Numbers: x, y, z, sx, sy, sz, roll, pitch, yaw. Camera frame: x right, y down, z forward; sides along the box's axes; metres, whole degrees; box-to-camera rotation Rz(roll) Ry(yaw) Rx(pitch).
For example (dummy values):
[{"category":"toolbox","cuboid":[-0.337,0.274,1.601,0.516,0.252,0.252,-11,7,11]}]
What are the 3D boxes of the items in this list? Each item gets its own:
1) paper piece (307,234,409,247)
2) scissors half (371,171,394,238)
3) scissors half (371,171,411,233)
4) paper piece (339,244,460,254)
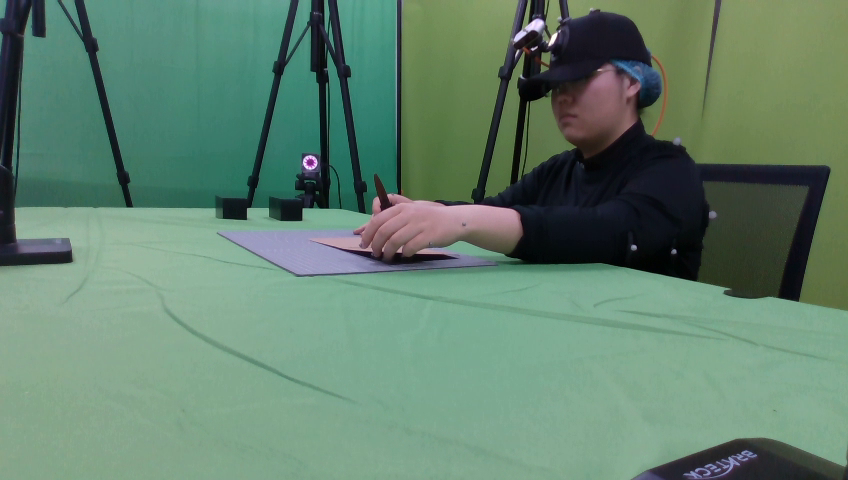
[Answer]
[{"category":"paper piece","cuboid":[-0.114,0.001,1.025,0.136,0.004,0.134,-2,8,-34]},{"category":"scissors half","cuboid":[-0.079,-0.061,1.075,0.040,0.175,0.012,-13,51,-7]},{"category":"scissors half","cuboid":[-0.060,-0.067,1.076,0.040,0.013,0.176,-27,-38,3]},{"category":"paper piece","cuboid":[-0.040,0.015,0.916,0.137,0.008,0.137,-3,5,-34]}]
